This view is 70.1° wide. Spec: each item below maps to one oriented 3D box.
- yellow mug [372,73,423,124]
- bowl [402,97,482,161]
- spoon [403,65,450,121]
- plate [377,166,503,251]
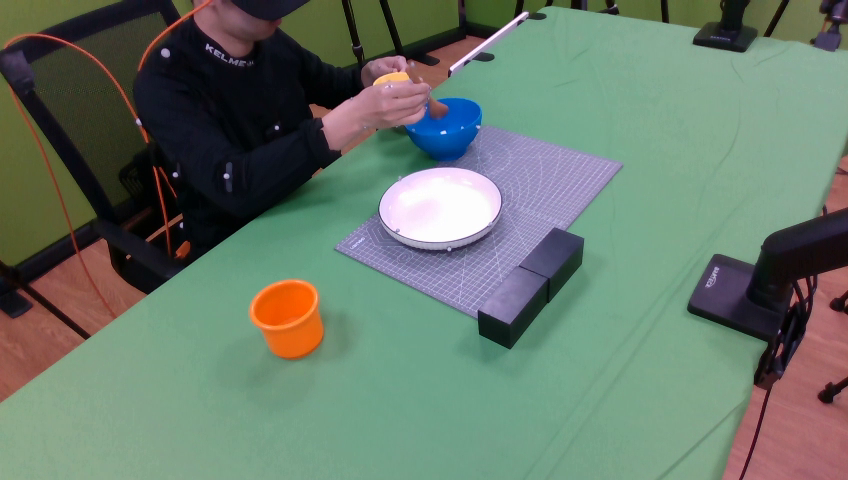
[{"bbox_3d":[-0.053,-0.298,1.240,0.100,0.064,0.130,-7,41,-1],"label":"yellow mug"},{"bbox_3d":[0.040,-0.203,1.155,0.151,0.077,0.150,-7,38,6],"label":"bowl"},{"bbox_3d":[0.002,-0.254,1.054,0.041,0.195,0.021,-29,64,12],"label":"spoon"},{"bbox_3d":[0.027,-0.050,1.007,0.209,0.038,0.208,-4,41,4],"label":"plate"}]
